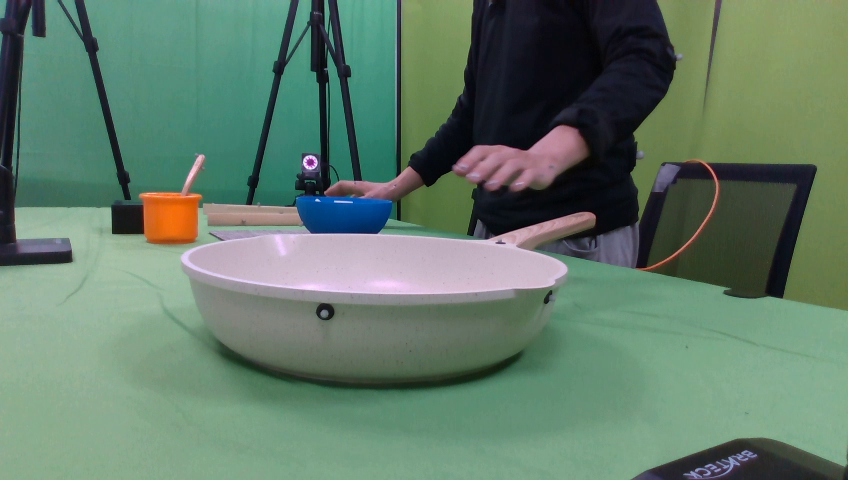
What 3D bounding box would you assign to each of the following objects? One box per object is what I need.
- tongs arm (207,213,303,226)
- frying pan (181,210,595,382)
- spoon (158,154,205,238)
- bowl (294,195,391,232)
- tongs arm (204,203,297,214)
[{"bbox_3d":[-0.264,-0.046,1.297,0.390,0.028,0.028,-2,7,-32],"label":"tongs arm"},{"bbox_3d":[0.034,0.019,0.557,0.305,0.102,0.490,10,19,42],"label":"frying pan"},{"bbox_3d":[-0.392,-0.076,0.998,0.041,0.193,0.021,1,-36,6],"label":"spoon"},{"bbox_3d":[-0.127,-0.028,0.946,0.151,0.077,0.151,2,7,0],"label":"bowl"},{"bbox_3d":[-0.295,-0.062,1.370,0.386,0.026,0.050,1,9,-19],"label":"tongs arm"}]
